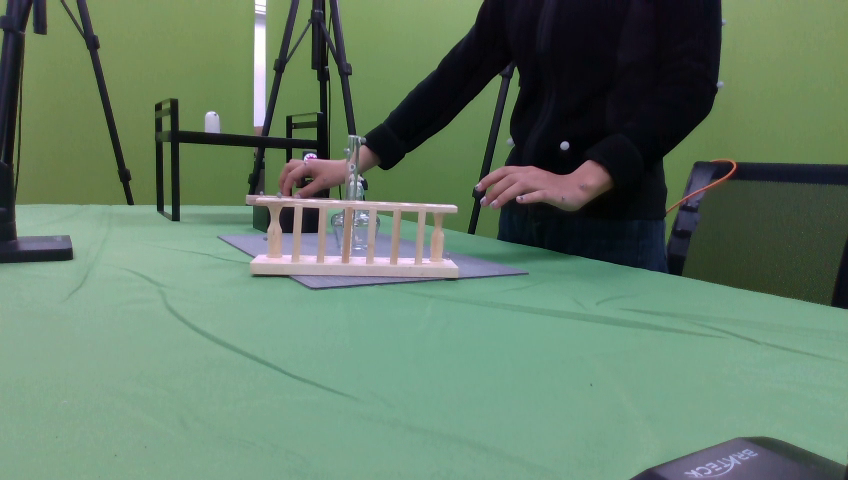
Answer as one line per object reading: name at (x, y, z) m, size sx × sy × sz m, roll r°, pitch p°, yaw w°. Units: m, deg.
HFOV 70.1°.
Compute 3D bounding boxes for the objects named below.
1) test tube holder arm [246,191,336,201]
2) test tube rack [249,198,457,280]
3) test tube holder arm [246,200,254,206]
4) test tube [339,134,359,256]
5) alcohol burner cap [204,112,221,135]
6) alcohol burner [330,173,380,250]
test tube holder arm at (-0.247, -0.082, 1.140) m, size 0.179 × 0.013 × 0.015 m, roll -8°, pitch 25°, yaw -37°
test tube rack at (-0.082, -0.002, 0.732) m, size 0.243 × 0.085 × 0.066 m, roll 2°, pitch 8°, yaw -7°
test tube holder arm at (-0.284, -0.072, 1.115) m, size 0.088 × 0.010 × 0.015 m, roll -8°, pitch 25°, yaw -37°
test tube at (-0.092, -0.054, 0.743) m, size 0.017 × 0.150 × 0.017 m, roll 4°, pitch 5°, yaw 0°
alcohol burner cap at (-0.444, -0.245, 1.270) m, size 0.034 × 0.048 × 0.034 m, roll 4°, pitch 8°, yaw 0°
alcohol burner at (-0.107, -0.044, 0.938) m, size 0.078 × 0.119 × 0.078 m, roll 1°, pitch 6°, yaw 0°
